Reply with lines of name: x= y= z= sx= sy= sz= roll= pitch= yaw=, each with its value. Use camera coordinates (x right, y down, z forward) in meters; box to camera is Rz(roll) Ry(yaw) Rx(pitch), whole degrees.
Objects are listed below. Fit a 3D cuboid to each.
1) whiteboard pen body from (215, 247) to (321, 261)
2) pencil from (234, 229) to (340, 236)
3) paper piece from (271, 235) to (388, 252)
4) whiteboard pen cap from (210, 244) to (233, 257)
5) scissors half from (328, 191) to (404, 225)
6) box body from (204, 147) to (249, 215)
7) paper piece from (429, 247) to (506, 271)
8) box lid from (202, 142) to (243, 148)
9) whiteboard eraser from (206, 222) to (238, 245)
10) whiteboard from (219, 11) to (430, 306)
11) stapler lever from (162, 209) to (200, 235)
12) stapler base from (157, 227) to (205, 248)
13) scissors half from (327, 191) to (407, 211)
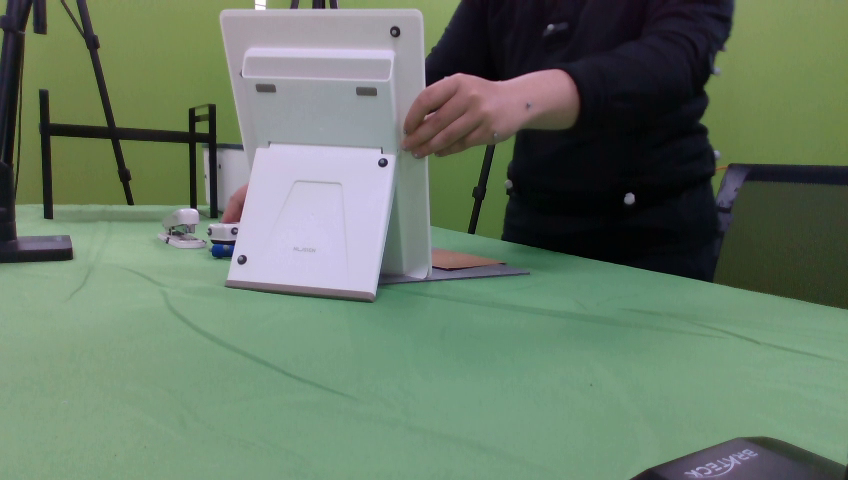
whiteboard pen body: x=-0.208 y=0.018 z=0.804 sx=0.141 sy=0.017 sz=0.017 roll=2 pitch=7 yaw=1
pencil: x=-0.232 y=-0.012 z=1.054 sx=0.195 sy=0.012 sz=0.012 roll=0 pitch=8 yaw=-36
paper piece: x=-0.151 y=0.003 z=0.978 sx=0.135 sy=0.008 sz=0.139 roll=13 pitch=10 yaw=35
whiteboard pen cap: x=-0.266 y=0.014 z=0.807 sx=0.033 sy=0.018 sz=0.018 roll=1 pitch=8 yaw=-1
scissors half: x=-0.127 y=-0.073 z=1.320 sx=0.175 sy=0.040 sz=0.013 roll=23 pitch=9 yaw=-6
box body: x=-0.347 y=-0.152 z=1.520 sx=0.366 sy=0.160 sz=0.253 roll=-2 pitch=9 yaw=-31
paper piece: x=0.025 y=0.026 z=0.864 sx=0.134 sy=0.004 sz=0.136 roll=10 pitch=11 yaw=42
box lid: x=-0.345 y=-0.225 z=1.509 sx=0.373 sy=0.015 sz=0.262 roll=-2 pitch=8 yaw=-31
whiteboard eraser: x=-0.255 y=-0.007 z=0.886 sx=0.055 sy=0.042 sz=0.113 roll=8 pitch=8 yaw=42
whiteboard: x=-0.119 y=-0.064 z=0.620 sx=0.217 sy=0.305 sz=0.144 roll=5 pitch=29 yaw=13
stapler lever: x=-0.376 y=-0.031 z=0.933 sx=0.027 sy=0.040 sz=0.117 roll=1 pitch=7 yaw=-38
stapler base: x=-0.376 y=-0.007 z=0.935 sx=0.041 sy=0.024 sz=0.130 roll=1 pitch=5 yaw=-38
scissors half: x=-0.123 y=-0.092 z=1.316 sx=0.175 sy=0.040 sz=0.013 roll=6 pitch=16 yaw=-3
